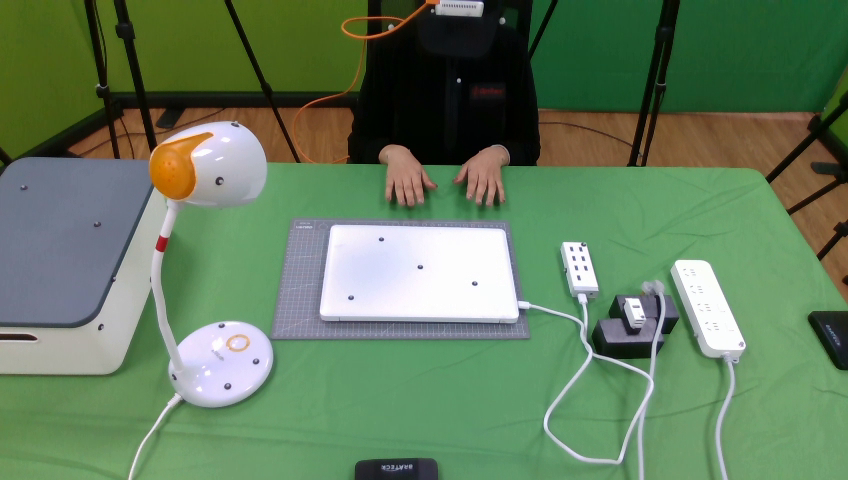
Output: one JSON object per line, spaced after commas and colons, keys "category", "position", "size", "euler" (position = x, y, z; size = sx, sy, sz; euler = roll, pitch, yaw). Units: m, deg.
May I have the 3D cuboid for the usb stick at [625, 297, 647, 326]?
{"category": "usb stick", "position": [0.360, 0.116, 1.034], "size": [0.021, 0.027, 0.059], "euler": [-2, 44, -2]}

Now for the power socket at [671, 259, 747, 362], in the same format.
{"category": "power socket", "position": [0.517, 0.119, 1.108], "size": [0.072, 0.033, 0.225], "euler": [1, 46, -2]}

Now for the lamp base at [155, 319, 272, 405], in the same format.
{"category": "lamp base", "position": [-0.330, 0.149, 0.918], "size": [0.160, 0.181, 0.179], "euler": [26, 52, 20]}

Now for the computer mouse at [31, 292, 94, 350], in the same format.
{"category": "computer mouse", "position": [-0.602, 0.130, 1.009], "size": [0.063, 0.041, 0.116], "euler": [-1, 42, -1]}

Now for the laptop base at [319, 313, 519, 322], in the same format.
{"category": "laptop base", "position": [-0.009, 0.062, 1.137], "size": [0.354, 0.023, 0.234], "euler": [1, 42, -3]}

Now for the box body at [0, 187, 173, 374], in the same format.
{"category": "box body", "position": [-0.601, 0.039, 1.019], "size": [0.254, 0.161, 0.361], "euler": [1, 46, -3]}

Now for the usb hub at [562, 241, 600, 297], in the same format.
{"category": "usb hub", "position": [0.300, 0.054, 1.162], "size": [0.049, 0.025, 0.124], "euler": [2, 46, -3]}

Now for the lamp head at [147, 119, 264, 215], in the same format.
{"category": "lamp head", "position": [-0.276, -0.087, 0.740], "size": [0.112, 0.112, 0.123], "euler": [20, 23, 15]}

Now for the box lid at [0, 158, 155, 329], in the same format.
{"category": "box lid", "position": [-0.598, -0.011, 0.964], "size": [0.263, 0.015, 0.369], "euler": [1, 45, -3]}

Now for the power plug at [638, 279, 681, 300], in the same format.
{"category": "power plug", "position": [0.434, 0.099, 1.119], "size": [0.073, 0.053, 0.035], "euler": [34, 38, -15]}

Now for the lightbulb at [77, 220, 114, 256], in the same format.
{"category": "lightbulb", "position": [-0.614, -0.009, 1.139], "size": [0.059, 0.060, 0.107], "euler": [-13, 28, -16]}

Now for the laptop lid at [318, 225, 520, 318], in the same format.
{"category": "laptop lid", "position": [-0.009, 0.052, 1.131], "size": [0.357, 0.013, 0.240], "euler": [2, 43, -2]}
